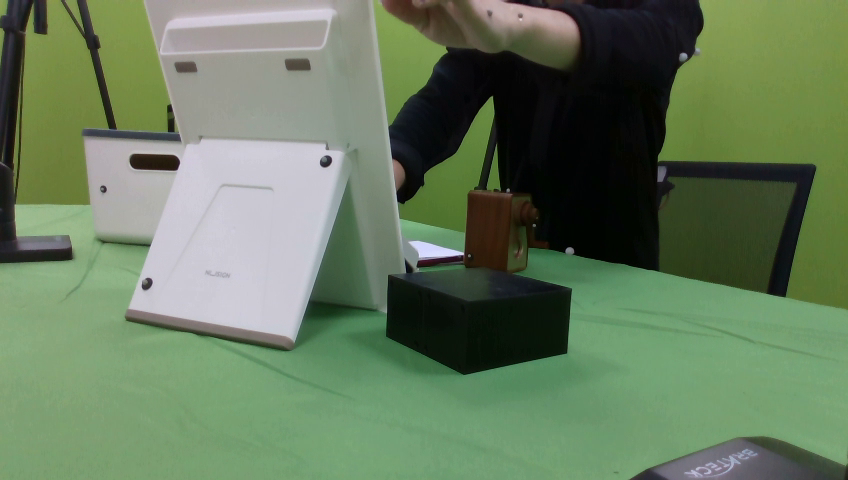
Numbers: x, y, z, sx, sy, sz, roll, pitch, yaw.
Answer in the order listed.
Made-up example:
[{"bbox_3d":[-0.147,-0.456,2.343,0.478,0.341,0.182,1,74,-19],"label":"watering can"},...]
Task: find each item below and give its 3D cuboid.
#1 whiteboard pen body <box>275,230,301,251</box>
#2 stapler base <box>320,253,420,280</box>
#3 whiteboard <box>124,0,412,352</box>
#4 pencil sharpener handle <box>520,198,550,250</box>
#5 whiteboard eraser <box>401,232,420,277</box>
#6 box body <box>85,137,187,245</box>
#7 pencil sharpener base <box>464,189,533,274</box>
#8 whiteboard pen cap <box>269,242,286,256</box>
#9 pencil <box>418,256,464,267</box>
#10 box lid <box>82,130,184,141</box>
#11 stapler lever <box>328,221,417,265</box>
[{"bbox_3d":[-0.203,0.002,0.894,0.017,0.017,0.140,2,9,-1],"label":"whiteboard pen body"},{"bbox_3d":[-0.069,0.027,0.759,0.130,0.024,0.041,10,14,23],"label":"stapler base"},{"bbox_3d":[-0.151,-0.049,0.471,0.216,0.305,0.144,6,27,24],"label":"whiteboard"},{"bbox_3d":[0.147,-0.020,0.785,0.030,0.068,0.036,8,25,36],"label":"pencil sharpener handle"},{"bbox_3d":[-0.064,0.017,0.577,0.112,0.056,0.042,-7,46,31],"label":"whiteboard eraser"},{"bbox_3d":[-0.340,-0.088,1.022,0.254,0.160,0.364,4,7,11],"label":"box body"},{"bbox_3d":[0.103,-0.012,0.812,0.076,0.107,0.061,8,9,36],"label":"pencil sharpener base"},{"bbox_3d":[-0.202,0.012,0.836,0.018,0.018,0.033,2,8,-1],"label":"whiteboard pen cap"},{"bbox_3d":[0.041,0.028,0.849,0.012,0.012,0.195,10,10,44],"label":"pencil"},{"bbox_3d":[-0.337,-0.161,1.011,0.263,0.015,0.372,4,7,11],"label":"box lid"},{"bbox_3d":[-0.066,0.003,0.754,0.117,0.040,0.027,9,14,23],"label":"stapler lever"}]
